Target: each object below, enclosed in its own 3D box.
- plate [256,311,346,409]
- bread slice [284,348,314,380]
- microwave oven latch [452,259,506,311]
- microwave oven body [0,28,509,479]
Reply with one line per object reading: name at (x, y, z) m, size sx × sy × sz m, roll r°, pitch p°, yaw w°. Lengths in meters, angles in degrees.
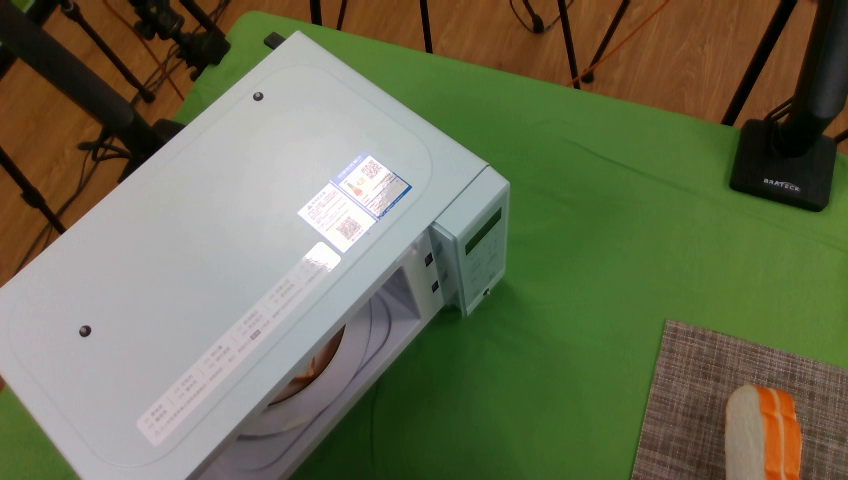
plate at (-0.194, 0.098, 0.717) m, size 0.208 × 0.039 × 0.206 m, roll 0°, pitch 63°, yaw 1°
bread slice at (-0.196, 0.123, 0.714) m, size 0.134 × 0.018 × 0.106 m, roll -8°, pitch 62°, yaw -8°
microwave oven latch at (0.069, 0.050, 0.755) m, size 0.030 × 0.030 × 0.079 m, roll 40°, pitch 76°, yaw 20°
microwave oven body at (-0.169, 0.049, 0.673) m, size 0.324 × 0.262 × 0.441 m, roll 38°, pitch 76°, yaw 19°
